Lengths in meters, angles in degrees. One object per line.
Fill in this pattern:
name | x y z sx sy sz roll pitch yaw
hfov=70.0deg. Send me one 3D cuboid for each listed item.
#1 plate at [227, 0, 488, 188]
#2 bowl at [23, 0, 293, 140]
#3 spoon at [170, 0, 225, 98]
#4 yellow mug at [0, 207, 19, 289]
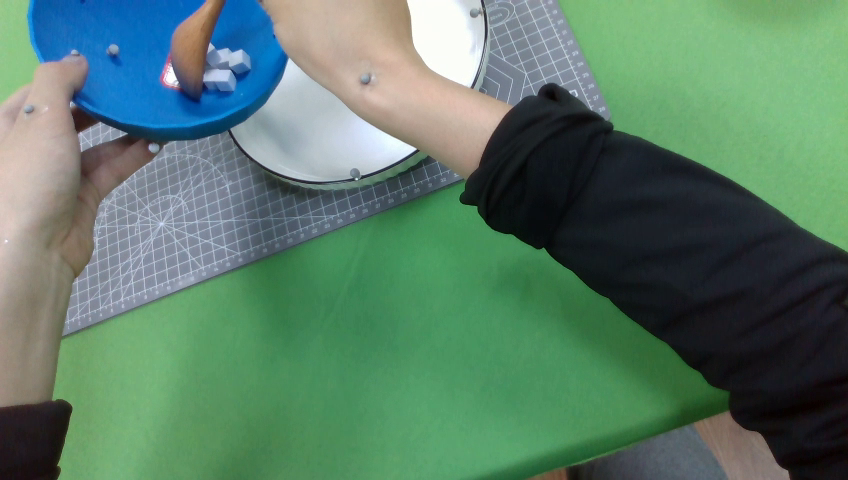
plate | -0.053 -0.130 0.451 0.208 0.038 0.207 -5 70 14
bowl | -0.163 -0.124 0.397 0.152 0.077 0.150 4 73 -12
spoon | -0.115 -0.146 0.339 0.194 0.022 0.041 -39 74 46
yellow mug | -0.400 0.021 0.487 0.099 0.064 0.130 2 72 17
